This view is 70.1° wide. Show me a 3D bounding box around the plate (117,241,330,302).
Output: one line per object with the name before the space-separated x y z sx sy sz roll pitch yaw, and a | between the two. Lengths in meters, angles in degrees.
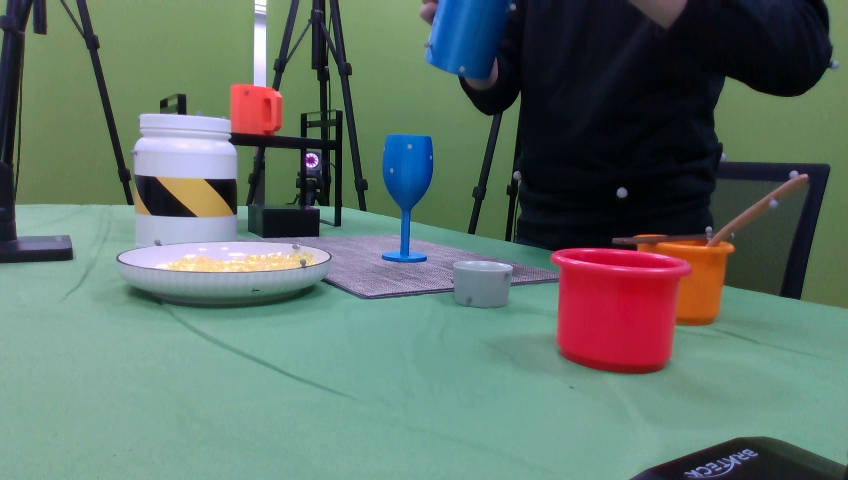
plate | -0.203 0.031 0.630 0.209 0.038 0.209 3 7 0

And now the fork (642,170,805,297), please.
fork | 0.261 0.004 0.545 0.028 0.018 0.207 5 -38 -15

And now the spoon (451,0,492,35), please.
spoon | 0.085 -0.317 0.663 0.042 0.193 0.021 27 17 -5

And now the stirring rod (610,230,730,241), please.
stirring rod | 0.241 -0.005 0.582 0.177 0.006 0.014 -3 10 -34

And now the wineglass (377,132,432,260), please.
wineglass | -0.026 -0.062 0.841 0.074 0.172 0.073 2 7 0

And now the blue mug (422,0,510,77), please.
blue mug | 0.042 -0.262 0.713 0.083 0.106 0.116 -3 33 -30

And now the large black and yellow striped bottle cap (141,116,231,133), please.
large black and yellow striped bottle cap | -0.324 -0.157 0.826 0.115 0.019 0.115 1 7 0

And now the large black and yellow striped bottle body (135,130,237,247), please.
large black and yellow striped bottle body | -0.327 -0.074 0.838 0.131 0.184 0.130 2 7 0

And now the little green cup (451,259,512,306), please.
little green cup | 0.057 0.043 0.612 0.061 0.038 0.061 3 7 0

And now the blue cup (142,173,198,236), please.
blue cup | -0.425 -0.060 1.014 0.093 0.100 0.092 4 9 0

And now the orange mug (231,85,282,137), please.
orange mug | -0.335 -0.261 1.225 0.125 0.100 0.084 3 6 35
